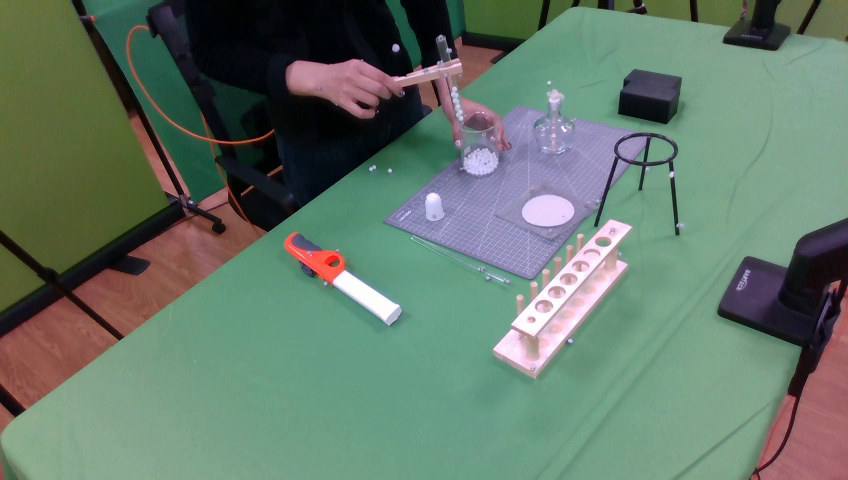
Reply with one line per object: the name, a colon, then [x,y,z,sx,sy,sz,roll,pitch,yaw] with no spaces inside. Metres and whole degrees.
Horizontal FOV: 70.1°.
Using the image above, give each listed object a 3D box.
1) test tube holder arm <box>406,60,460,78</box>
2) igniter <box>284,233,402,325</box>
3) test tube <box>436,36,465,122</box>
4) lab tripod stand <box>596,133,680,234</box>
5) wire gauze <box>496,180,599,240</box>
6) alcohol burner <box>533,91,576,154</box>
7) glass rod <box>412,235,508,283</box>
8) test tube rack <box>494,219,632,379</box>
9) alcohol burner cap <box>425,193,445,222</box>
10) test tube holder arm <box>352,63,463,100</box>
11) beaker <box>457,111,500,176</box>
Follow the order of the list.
test tube holder arm: [0.015,-0.265,0.956,0.088,0.015,0.010,-19,38,-3]
igniter: [-0.136,0.054,0.942,0.274,0.025,0.057,30,63,37]
test tube: [0.044,-0.254,0.967,0.017,0.151,0.017,-11,43,10]
lab tripod stand: [0.338,-0.091,0.940,0.148,0.132,0.147,-7,39,6]
wire gauze: [0.206,-0.050,1.012,0.125,0.011,0.120,-34,45,-26]
alcohol burner: [0.243,-0.222,1.124,0.078,0.119,0.077,-4,39,4]
glass rod: [0.051,0.028,0.951,0.198,0.008,0.008,25,51,37]
test tube rack: [0.191,0.068,0.818,0.066,0.085,0.243,25,51,35]
alcohol burner cap: [0.017,-0.058,1.029,0.034,0.048,0.033,-6,40,5]
test tube holder arm: [-0.027,-0.249,0.952,0.178,0.015,0.013,-14,37,2]
beaker: [0.104,-0.176,1.107,0.073,0.101,0.084,17,46,28]
